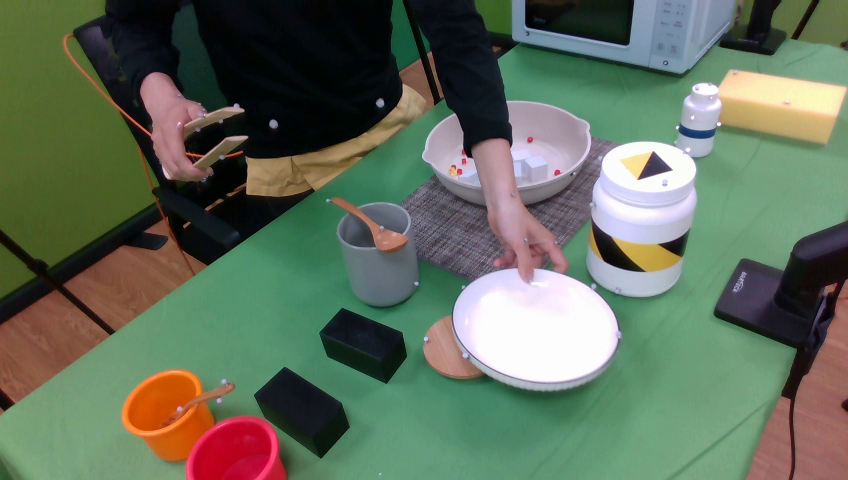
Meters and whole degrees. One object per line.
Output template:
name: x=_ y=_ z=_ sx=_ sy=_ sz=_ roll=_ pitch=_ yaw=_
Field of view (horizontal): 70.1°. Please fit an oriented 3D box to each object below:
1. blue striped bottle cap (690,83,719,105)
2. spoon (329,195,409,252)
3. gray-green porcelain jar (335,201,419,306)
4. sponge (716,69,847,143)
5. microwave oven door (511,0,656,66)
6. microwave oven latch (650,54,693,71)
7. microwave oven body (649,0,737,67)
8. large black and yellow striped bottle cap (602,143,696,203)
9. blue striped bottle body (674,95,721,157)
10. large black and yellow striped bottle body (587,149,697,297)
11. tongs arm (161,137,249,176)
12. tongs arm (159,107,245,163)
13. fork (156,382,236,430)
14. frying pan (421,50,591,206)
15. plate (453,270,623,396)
blue striped bottle cap: x=0.481 y=-0.251 z=1.038 sx=0.044 sy=0.021 sz=0.044 roll=-5 pitch=39 yaw=5
spoon: x=-0.082 y=-0.029 z=0.828 sx=0.042 sy=0.022 sz=0.192 roll=-33 pitch=43 yaw=-19
gray-green porcelain jar: x=-0.064 y=0.024 z=0.872 sx=0.106 sy=0.127 sz=0.105 roll=-4 pitch=41 yaw=4
sponge: x=0.663 y=-0.256 z=1.142 sx=0.205 sy=0.061 sz=0.118 roll=19 pitch=47 yaw=28
microwave oven door: x=0.351 y=-0.539 z=1.348 sx=0.353 sy=0.245 sz=0.039 roll=24 pitch=50 yaw=31
microwave oven latch: x=0.531 y=-0.386 z=1.301 sx=0.078 sy=0.029 sz=0.030 roll=26 pitch=51 yaw=33
microwave oven body: x=0.475 y=-0.602 z=1.411 sx=0.438 sy=0.261 sz=0.327 roll=23 pitch=50 yaw=32
large black and yellow striped bottle cap: x=0.289 y=-0.088 z=0.779 sx=0.115 sy=0.019 sz=0.114 roll=-4 pitch=40 yaw=4
blue striped bottle body: x=0.486 y=-0.213 z=1.071 sx=0.063 sy=0.121 sz=0.063 roll=-4 pitch=41 yaw=4
large black and yellow striped bottle body: x=0.298 y=-0.026 z=0.835 sx=0.131 sy=0.185 sz=0.130 roll=-4 pitch=41 yaw=4
tongs arm: x=-0.306 y=-0.112 z=0.818 sx=0.028 sy=0.028 sz=0.384 roll=-16 pitch=9 yaw=-32
tongs arm: x=-0.310 y=-0.134 z=0.815 sx=0.027 sy=0.051 sz=0.381 roll=-12 pitch=11 yaw=-32
fork: x=-0.262 y=0.189 z=0.690 sx=0.018 sy=0.206 sz=0.028 roll=49 pitch=43 yaw=-6
frying pan: x=0.127 y=-0.233 z=1.155 sx=0.307 sy=0.103 sz=0.484 roll=-11 pitch=49 yaw=-5
plate: x=0.139 y=0.116 z=0.754 sx=0.208 sy=0.039 sz=0.206 roll=1 pitch=36 yaw=0
